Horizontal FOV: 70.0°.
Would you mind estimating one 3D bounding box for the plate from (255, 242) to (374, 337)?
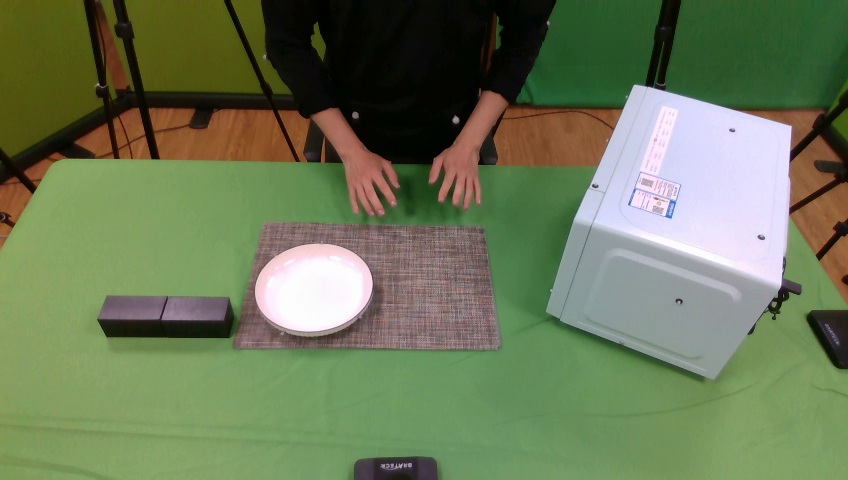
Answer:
[{"bbox_3d":[-0.192,0.090,1.079,0.208,0.039,0.206,2,46,-2],"label":"plate"}]

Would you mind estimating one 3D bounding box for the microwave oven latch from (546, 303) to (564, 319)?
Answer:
[{"bbox_3d":[0.242,0.102,1.081,0.030,0.029,0.079,22,48,17],"label":"microwave oven latch"}]

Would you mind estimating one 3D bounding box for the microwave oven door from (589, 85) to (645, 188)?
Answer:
[{"bbox_3d":[0.342,-0.107,1.149,0.039,0.245,0.354,20,48,15],"label":"microwave oven door"}]

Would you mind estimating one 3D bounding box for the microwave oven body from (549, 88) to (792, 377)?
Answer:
[{"bbox_3d":[0.456,-0.028,1.088,0.325,0.261,0.440,20,47,16],"label":"microwave oven body"}]
